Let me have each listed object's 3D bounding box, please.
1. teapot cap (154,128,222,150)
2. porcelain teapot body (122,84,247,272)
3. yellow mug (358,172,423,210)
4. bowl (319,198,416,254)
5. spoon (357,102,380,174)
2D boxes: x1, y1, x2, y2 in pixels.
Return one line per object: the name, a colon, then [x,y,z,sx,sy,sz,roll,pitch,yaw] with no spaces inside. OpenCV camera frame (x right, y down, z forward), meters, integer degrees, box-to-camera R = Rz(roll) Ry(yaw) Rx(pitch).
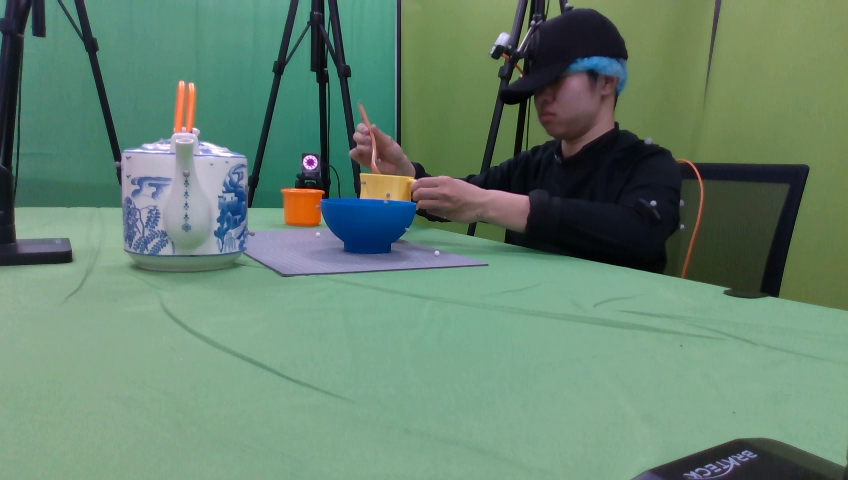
teapot cap: [-0.294,-0.117,0.754,0.085,0.044,0.085,4,10,0]
porcelain teapot body: [-0.286,-0.075,0.733,0.146,0.225,0.204,0,8,-24]
yellow mug: [-0.058,-0.085,1.091,0.130,0.064,0.100,8,6,28]
bowl: [-0.089,-0.022,0.941,0.151,0.077,0.151,2,7,0]
spoon: [-0.101,-0.186,1.141,0.021,0.193,0.042,-15,-27,3]
